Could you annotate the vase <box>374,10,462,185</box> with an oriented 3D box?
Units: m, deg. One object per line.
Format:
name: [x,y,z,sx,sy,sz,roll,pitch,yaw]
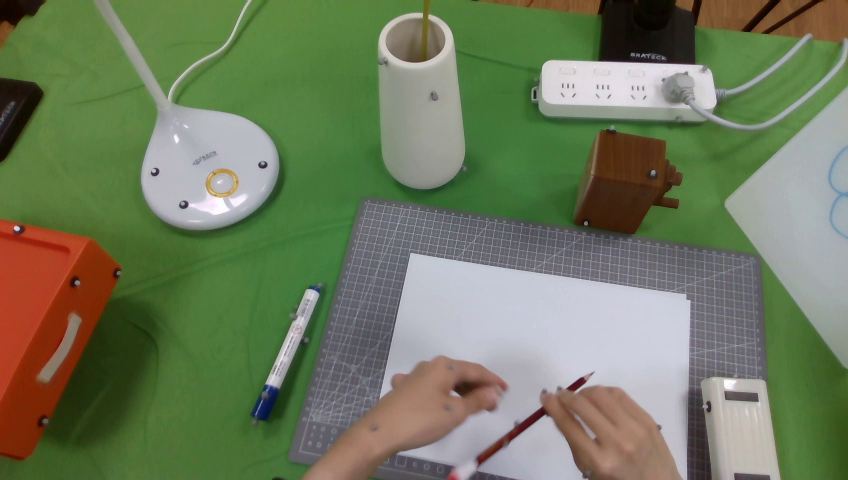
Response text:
vase: [-0.009,-0.143,0.644,0.098,0.201,0.097,-1,63,3]

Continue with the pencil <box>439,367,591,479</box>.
pencil: [0.083,0.146,0.497,0.194,0.012,0.012,-23,61,-38]

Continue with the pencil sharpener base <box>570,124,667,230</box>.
pencil sharpener base: [0.207,-0.064,0.650,0.076,0.108,0.061,11,64,7]

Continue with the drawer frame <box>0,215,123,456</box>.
drawer frame: [-0.437,0.074,0.568,0.213,0.083,0.200,12,65,5]

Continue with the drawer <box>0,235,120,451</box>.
drawer: [-0.431,0.073,0.566,0.211,0.074,0.193,11,65,7]

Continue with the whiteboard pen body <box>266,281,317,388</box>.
whiteboard pen body: [-0.140,0.105,0.623,0.017,0.017,0.140,13,61,9]

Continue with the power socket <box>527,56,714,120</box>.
power socket: [0.244,-0.189,0.752,0.227,0.033,0.071,3,65,3]

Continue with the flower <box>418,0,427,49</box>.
flower: [-0.001,-0.195,0.578,0.038,0.365,0.043,-2,45,-7]

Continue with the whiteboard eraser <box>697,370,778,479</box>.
whiteboard eraser: [0.288,0.179,0.561,0.055,0.042,0.112,4,64,2]

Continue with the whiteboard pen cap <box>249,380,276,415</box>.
whiteboard pen cap: [-0.158,0.154,0.595,0.018,0.018,0.033,13,59,9]

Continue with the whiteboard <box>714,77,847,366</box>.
whiteboard: [0.477,-0.054,0.561,0.144,0.307,0.215,-12,62,-25]

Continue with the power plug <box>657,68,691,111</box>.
power plug: [0.292,-0.171,0.716,0.035,0.053,0.072,13,66,9]

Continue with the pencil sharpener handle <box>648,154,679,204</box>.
pencil sharpener handle: [0.256,-0.060,0.633,0.030,0.068,0.035,11,63,7]

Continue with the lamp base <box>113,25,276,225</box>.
lamp base: [-0.268,-0.131,0.656,0.178,0.182,0.160,40,71,22]
